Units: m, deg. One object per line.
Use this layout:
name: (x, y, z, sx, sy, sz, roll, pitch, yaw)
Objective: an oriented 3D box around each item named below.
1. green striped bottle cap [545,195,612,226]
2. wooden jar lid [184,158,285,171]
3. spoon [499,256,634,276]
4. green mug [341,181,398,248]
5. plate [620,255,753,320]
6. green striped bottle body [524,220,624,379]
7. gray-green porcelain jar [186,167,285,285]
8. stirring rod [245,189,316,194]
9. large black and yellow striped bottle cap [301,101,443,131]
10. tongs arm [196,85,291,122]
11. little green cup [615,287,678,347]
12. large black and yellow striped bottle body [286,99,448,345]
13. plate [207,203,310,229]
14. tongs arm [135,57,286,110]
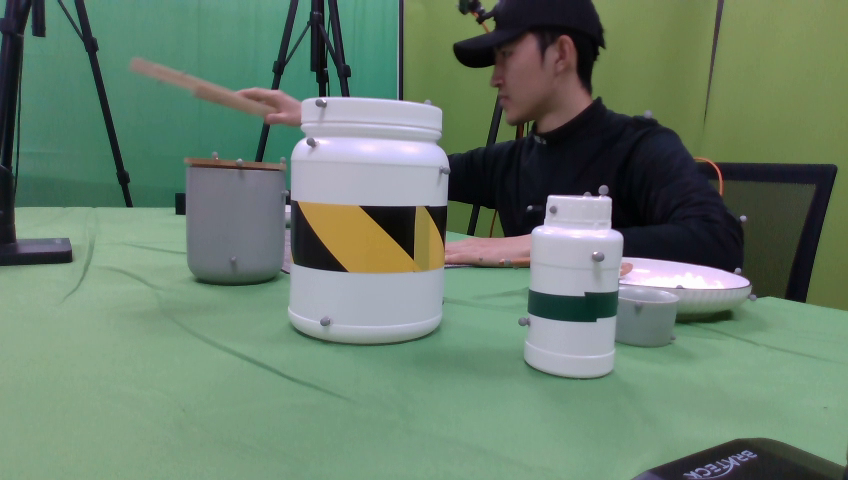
green striped bottle cap: (0.106, -0.020, 0.414, 0.044, 0.020, 0.044, 2, 4, 0)
wooden jar lid: (-0.210, -0.078, 0.674, 0.108, 0.020, 0.108, 5, 6, 0)
spoon: (0.162, 0.027, 0.679, 0.195, 0.021, 0.041, 8, 2, -30)
green mug: (-0.089, -0.044, 0.997, 0.093, 0.105, 0.125, 1, 7, -8)
plate: (0.234, 0.049, 0.651, 0.209, 0.038, 0.209, 2, 7, 0)
green striped bottle body: (0.104, 0.031, 0.422, 0.063, 0.119, 0.063, 2, 7, 0)
gray-green porcelain jar: (-0.212, -0.017, 0.682, 0.106, 0.126, 0.106, 2, 7, 0)
stirring rod: (-0.351, -0.120, 1.490, 0.177, 0.014, 0.006, -2, 5, -29)
large black and yellow striped bottle cap: (-0.042, -0.100, 0.491, 0.115, 0.019, 0.115, 1, 8, 0)
tongs arm: (-0.343, -0.265, 1.197, 0.028, 0.028, 0.388, 19, 8, 8)
little green cup: (0.180, 0.064, 0.506, 0.061, 0.038, 0.061, 1, 8, 0)
large black and yellow striped bottle body: (-0.047, -0.018, 0.501, 0.131, 0.184, 0.130, 2, 7, 0)
plate: (-0.342, -0.050, 1.259, 0.208, 0.039, 0.207, 3, 7, 0)
tongs arm: (-0.408, -0.297, 1.216, 0.050, 0.026, 0.386, 24, 9, 19)
